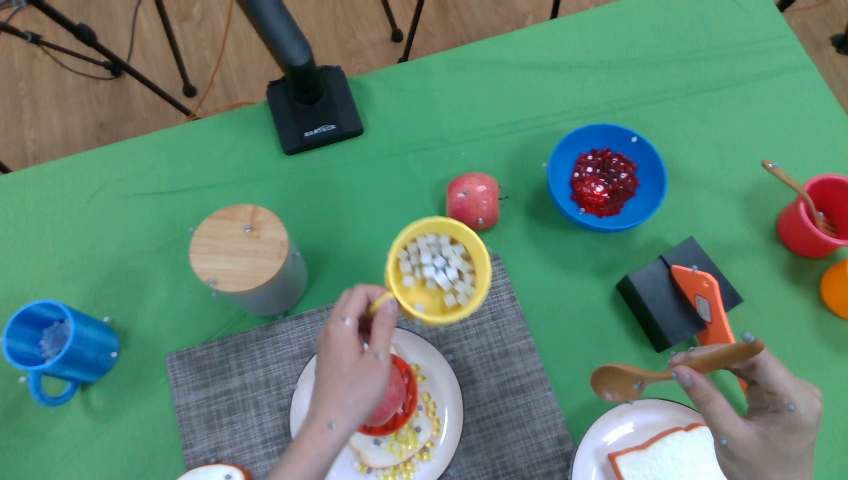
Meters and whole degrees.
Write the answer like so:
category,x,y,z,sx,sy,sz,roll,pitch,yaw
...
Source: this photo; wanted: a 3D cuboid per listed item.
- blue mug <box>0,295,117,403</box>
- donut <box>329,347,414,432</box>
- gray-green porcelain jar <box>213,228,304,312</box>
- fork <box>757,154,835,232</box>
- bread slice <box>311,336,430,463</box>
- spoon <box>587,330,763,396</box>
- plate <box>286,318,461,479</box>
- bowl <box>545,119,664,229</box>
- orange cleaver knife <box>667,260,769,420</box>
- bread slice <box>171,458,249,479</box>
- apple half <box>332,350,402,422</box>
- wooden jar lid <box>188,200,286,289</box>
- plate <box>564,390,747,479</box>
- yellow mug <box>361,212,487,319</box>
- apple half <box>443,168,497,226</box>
category,x,y,z,sx,sy,sz,roll,pitch,yaw
blue mug,-0.435,0.134,0.720,0.082,0.106,0.116,3,70,1
donut,-0.060,0.173,0.707,0.099,0.048,0.098,0,71,1
gray-green porcelain jar,-0.208,0.028,0.746,0.106,0.127,0.105,0,70,1
fork,0.471,-0.057,0.760,0.209,0.018,0.028,28,66,-35
bread slice,-0.055,0.196,0.730,0.107,0.018,0.133,-34,73,-10
spoon,0.184,0.097,0.463,0.041,0.194,0.021,42,67,2
plate,-0.059,0.199,0.727,0.208,0.039,0.206,0,71,1
bowl,0.230,-0.075,0.805,0.151,0.077,0.150,0,71,1
orange cleaver knife,0.353,0.119,0.734,0.012,0.077,0.211,-27,94,-16
bread slice,-0.248,0.321,0.697,0.105,0.019,0.130,-10,72,-4
apple half,-0.064,0.161,0.673,0.081,0.033,0.081,-2,70,6
wooden jar lid,-0.209,0.006,0.686,0.108,0.021,0.107,1,68,-1
plate,0.263,0.282,0.700,0.209,0.038,0.207,0,71,1
yellow mug,-0.005,0.035,0.600,0.131,0.064,0.099,-30,85,-10
apple half,0.062,-0.064,0.816,0.074,0.054,0.080,4,71,4
